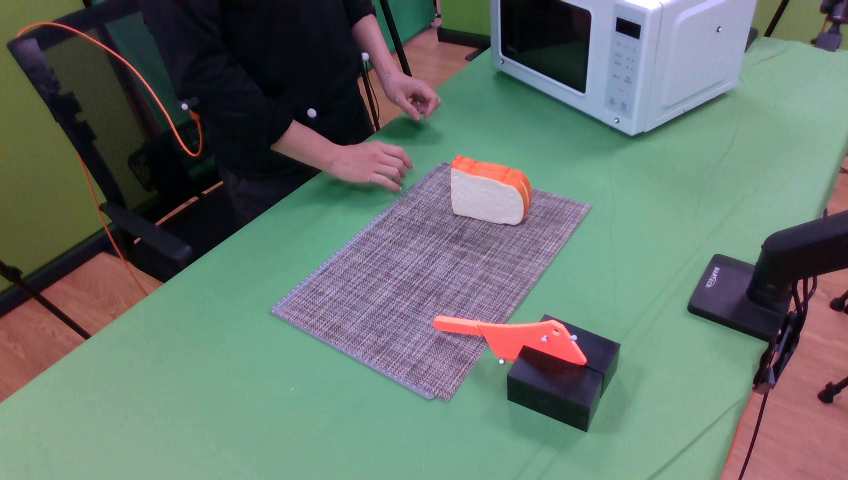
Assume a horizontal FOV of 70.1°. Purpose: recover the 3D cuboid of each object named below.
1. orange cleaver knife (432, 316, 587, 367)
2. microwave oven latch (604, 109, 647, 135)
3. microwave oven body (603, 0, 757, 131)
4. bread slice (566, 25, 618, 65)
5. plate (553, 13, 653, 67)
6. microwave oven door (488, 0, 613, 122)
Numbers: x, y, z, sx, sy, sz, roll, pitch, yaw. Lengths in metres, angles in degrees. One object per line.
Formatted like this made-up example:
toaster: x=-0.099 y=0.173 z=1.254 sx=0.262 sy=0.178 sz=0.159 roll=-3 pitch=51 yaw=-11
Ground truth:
orange cleaver knife: x=0.101 y=0.127 z=0.761 sx=0.210 sy=0.077 sz=0.012 roll=-1 pitch=34 yaw=40
microwave oven latch: x=0.378 y=-0.225 z=1.139 sx=0.030 sy=0.029 sz=0.078 roll=-26 pitch=43 yaw=-20
microwave oven body: x=0.396 y=-0.448 z=1.248 sx=0.327 sy=0.261 sz=0.437 roll=-27 pitch=44 yaw=-21
bread slice: x=0.362 y=-0.428 z=1.324 sx=0.107 sy=0.018 sz=0.133 roll=0 pitch=51 yaw=7
plate: x=0.385 y=-0.428 z=1.311 sx=0.207 sy=0.039 sz=0.206 roll=-3 pitch=45 yaw=4
microwave oven door: x=0.251 y=-0.412 z=1.219 sx=0.039 sy=0.245 sz=0.352 roll=-27 pitch=44 yaw=-21
